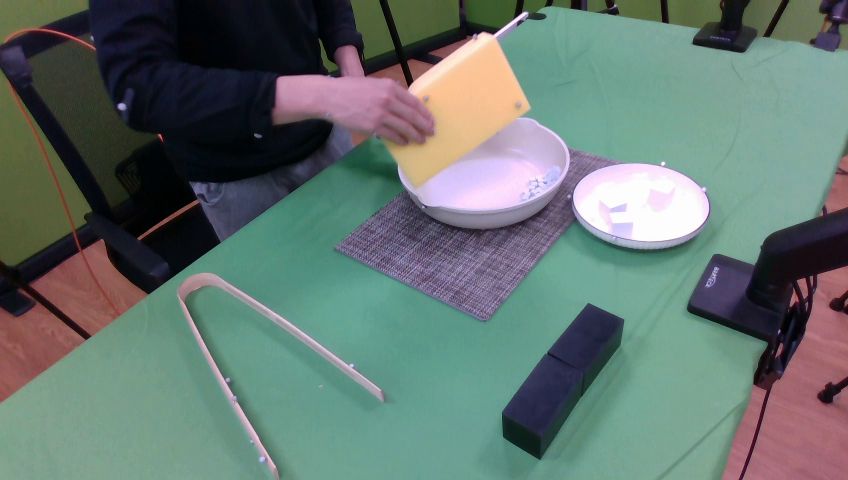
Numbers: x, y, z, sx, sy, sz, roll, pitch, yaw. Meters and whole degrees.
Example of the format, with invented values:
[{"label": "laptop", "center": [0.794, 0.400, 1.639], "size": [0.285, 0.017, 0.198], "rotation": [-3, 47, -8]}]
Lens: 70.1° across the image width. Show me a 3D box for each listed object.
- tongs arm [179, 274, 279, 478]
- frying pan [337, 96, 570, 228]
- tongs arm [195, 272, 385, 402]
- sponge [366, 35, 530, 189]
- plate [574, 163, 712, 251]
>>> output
[{"label": "tongs arm", "center": [-0.260, 0.161, 0.807], "size": [0.051, 0.026, 0.381], "rotation": [-29, 44, -25]}, {"label": "frying pan", "center": [0.023, -0.167, 1.090], "size": [0.484, 0.103, 0.308], "rotation": [32, 52, 26]}, {"label": "tongs arm", "center": [-0.199, 0.125, 0.846], "size": [0.384, 0.028, 0.028], "rotation": [25, 52, 32]}, {"label": "sponge", "center": [0.035, -0.184, 0.872], "size": [0.207, 0.119, 0.060], "rotation": [-35, 27, 2]}, {"label": "plate", "center": [0.344, -0.050, 0.966], "size": [0.207, 0.039, 0.206], "rotation": [-4, 40, 4]}]
